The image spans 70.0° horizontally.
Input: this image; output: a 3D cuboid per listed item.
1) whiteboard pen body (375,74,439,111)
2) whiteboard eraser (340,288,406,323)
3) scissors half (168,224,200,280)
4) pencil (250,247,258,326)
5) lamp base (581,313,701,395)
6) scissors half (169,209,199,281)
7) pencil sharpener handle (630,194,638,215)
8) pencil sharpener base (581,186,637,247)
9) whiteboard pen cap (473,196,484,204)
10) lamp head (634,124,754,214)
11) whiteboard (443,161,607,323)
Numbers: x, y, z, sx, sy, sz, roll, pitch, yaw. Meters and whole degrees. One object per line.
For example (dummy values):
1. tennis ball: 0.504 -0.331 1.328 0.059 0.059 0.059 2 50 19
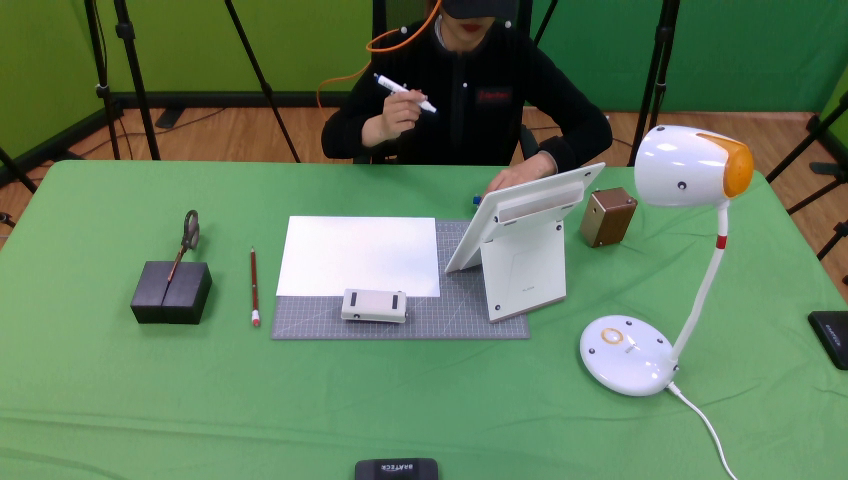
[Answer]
1. whiteboard pen body: -0.032 -0.285 1.179 0.141 0.017 0.017 29 50 3
2. whiteboard eraser: -0.088 0.117 1.060 0.113 0.042 0.055 3 45 -1
3. scissors half: -0.440 0.023 1.111 0.013 0.040 0.174 7 29 -6
4. pencil: -0.312 0.079 1.107 0.012 0.012 0.192 -7 46 -11
5. lamp base: 0.361 0.144 0.972 0.178 0.181 0.160 34 53 23
6. scissors half: -0.438 0.007 1.098 0.013 0.040 0.174 3 48 -3
7. pencil sharpener handle: 0.417 -0.068 1.215 0.031 0.068 0.036 -11 60 -15
8. pencil sharpener base: 0.369 -0.047 1.208 0.077 0.107 0.061 -11 47 -15
9. whiteboard pen cap: 0.118 -0.084 1.267 0.033 0.018 0.018 1 46 1
10. lamp head: 0.351 -0.089 0.775 0.112 0.113 0.122 -30 30 -28
11. whiteboard: 0.185 0.025 1.029 0.217 0.306 0.143 -15 68 -18
